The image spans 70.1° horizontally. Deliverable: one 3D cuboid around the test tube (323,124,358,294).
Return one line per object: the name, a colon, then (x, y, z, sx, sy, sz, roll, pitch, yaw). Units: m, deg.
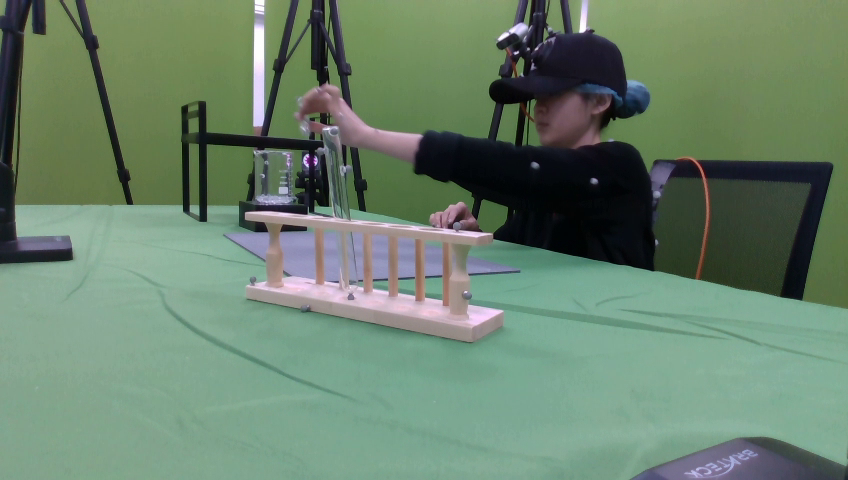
test tube: (-0.073, -0.026, 0.533, 0.017, 0.150, 0.017, -5, 9, 1)

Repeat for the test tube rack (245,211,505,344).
test tube rack: (-0.049, 0.024, 0.547, 0.241, 0.085, 0.067, 7, 8, 29)

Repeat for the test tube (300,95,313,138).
test tube: (-0.203, -0.213, 1.040, 0.017, 0.017, 0.150, 1, 36, -14)

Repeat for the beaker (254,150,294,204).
beaker: (-0.289, -0.120, 1.151, 0.073, 0.100, 0.084, 8, 9, 33)
